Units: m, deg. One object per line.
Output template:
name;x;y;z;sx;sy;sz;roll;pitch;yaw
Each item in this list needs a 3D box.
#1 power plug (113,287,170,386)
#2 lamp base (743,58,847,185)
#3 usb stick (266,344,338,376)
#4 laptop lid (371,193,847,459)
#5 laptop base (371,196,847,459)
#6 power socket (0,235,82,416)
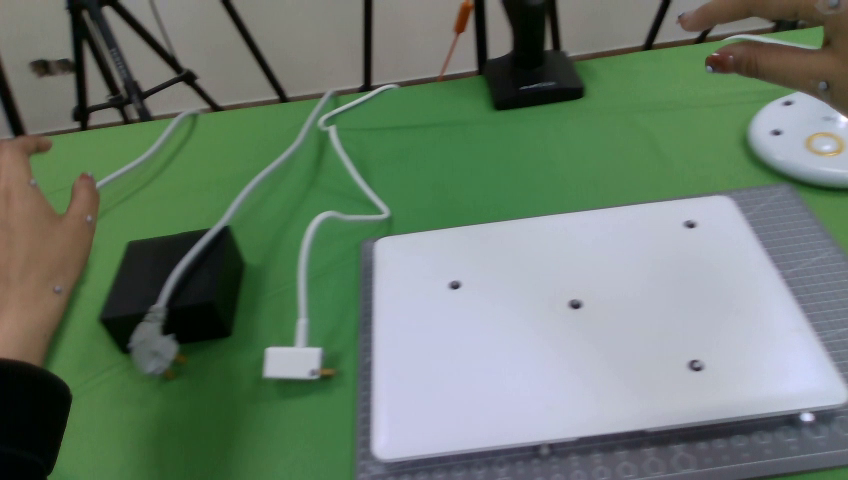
power plug;-0.245;0.083;0.505;0.035;0.073;0.052;-17;25;39
lamp base;0.434;-0.177;0.618;0.159;0.182;0.178;17;47;25
usb stick;-0.102;0.102;0.511;0.059;0.021;0.027;6;81;-2
laptop lid;0.130;0.057;0.518;0.357;0.013;0.239;-6;45;2
laptop base;0.131;0.063;0.528;0.354;0.023;0.233;-7;47;1
power socket;-0.395;0.076;0.583;0.072;0.033;0.224;-9;43;-2
